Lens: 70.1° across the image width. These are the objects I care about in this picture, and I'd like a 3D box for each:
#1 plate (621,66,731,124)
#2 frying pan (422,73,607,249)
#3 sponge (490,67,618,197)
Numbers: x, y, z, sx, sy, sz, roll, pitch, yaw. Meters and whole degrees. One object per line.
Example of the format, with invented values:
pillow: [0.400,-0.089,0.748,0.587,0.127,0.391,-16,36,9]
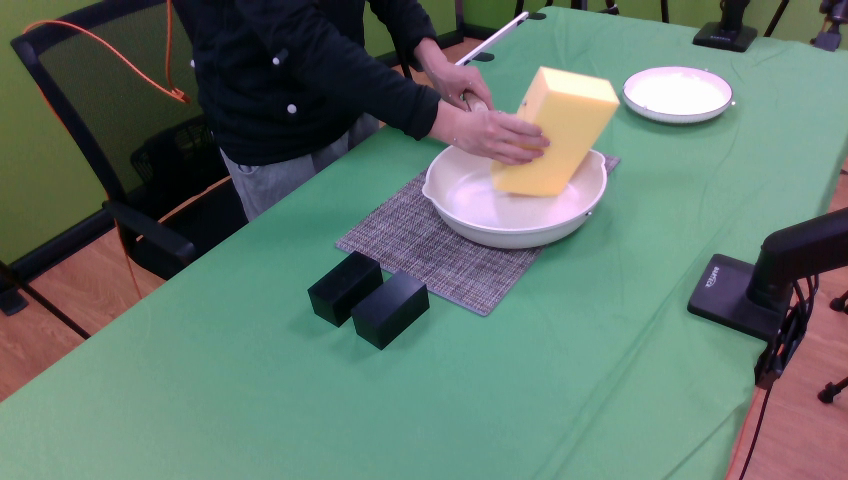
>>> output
plate: [0.503,-0.288,1.221,0.207,0.039,0.206,-4,41,4]
frying pan: [0.130,-0.161,1.069,0.307,0.103,0.484,-10,49,-5]
sponge: [0.199,-0.163,0.964,0.119,0.207,0.060,7,48,-18]
